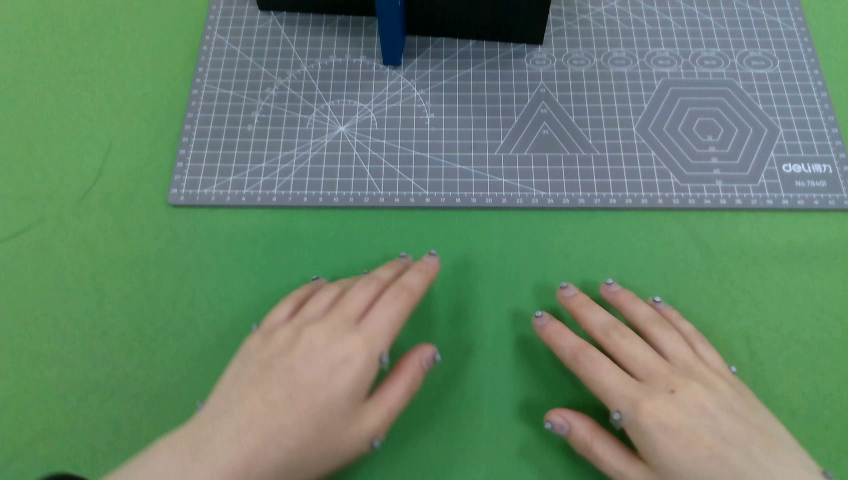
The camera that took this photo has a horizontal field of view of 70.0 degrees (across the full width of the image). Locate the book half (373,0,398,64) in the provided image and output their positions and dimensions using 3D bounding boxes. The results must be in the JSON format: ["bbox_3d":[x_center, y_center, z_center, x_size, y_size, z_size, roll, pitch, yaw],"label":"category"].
[{"bbox_3d":[-0.020,-0.236,0.372,0.016,0.212,0.147,5,66,4],"label":"book half"}]

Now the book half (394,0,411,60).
[{"bbox_3d":[-0.012,-0.237,0.374,0.007,0.211,0.142,6,66,4],"label":"book half"}]
